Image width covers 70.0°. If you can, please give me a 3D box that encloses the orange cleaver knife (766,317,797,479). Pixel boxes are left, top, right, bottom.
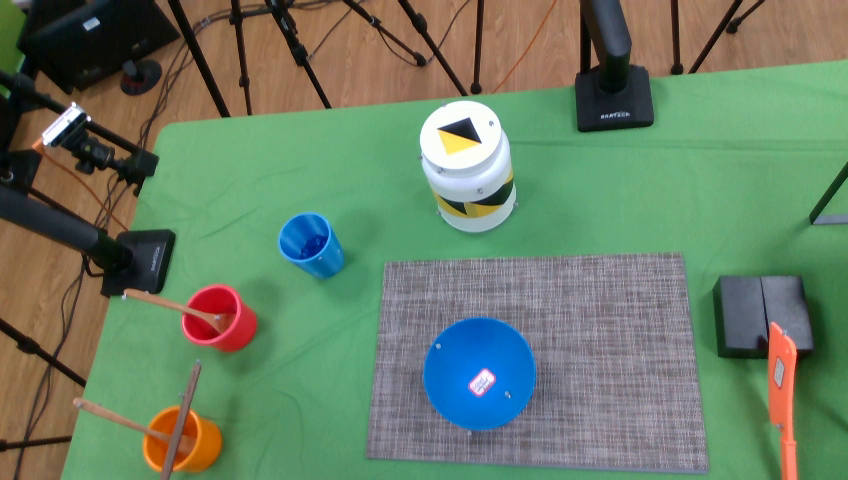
[{"bbox_3d":[0.435,0.202,0.738,0.012,0.077,0.211,-4,94,8],"label":"orange cleaver knife"}]

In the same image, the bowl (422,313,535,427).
[{"bbox_3d":[0.078,0.183,0.827,0.151,0.077,0.150,-5,65,11],"label":"bowl"}]

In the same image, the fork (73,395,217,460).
[{"bbox_3d":[-0.393,0.265,0.860,0.209,0.018,0.028,32,80,-22],"label":"fork"}]

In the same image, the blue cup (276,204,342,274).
[{"bbox_3d":[-0.174,0.010,0.957,0.092,0.101,0.092,-4,66,9],"label":"blue cup"}]

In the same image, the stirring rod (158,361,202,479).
[{"bbox_3d":[-0.342,0.255,0.850,0.014,0.006,0.175,4,67,12],"label":"stirring rod"}]

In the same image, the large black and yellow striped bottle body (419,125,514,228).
[{"bbox_3d":[0.066,-0.113,0.913,0.130,0.185,0.129,-5,64,11],"label":"large black and yellow striped bottle body"}]

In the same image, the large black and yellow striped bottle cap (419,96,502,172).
[{"bbox_3d":[0.049,-0.148,0.838,0.115,0.019,0.114,-5,65,12],"label":"large black and yellow striped bottle cap"}]

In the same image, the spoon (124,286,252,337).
[{"bbox_3d":[-0.360,0.105,0.932,0.195,0.021,0.041,25,65,-24],"label":"spoon"}]
